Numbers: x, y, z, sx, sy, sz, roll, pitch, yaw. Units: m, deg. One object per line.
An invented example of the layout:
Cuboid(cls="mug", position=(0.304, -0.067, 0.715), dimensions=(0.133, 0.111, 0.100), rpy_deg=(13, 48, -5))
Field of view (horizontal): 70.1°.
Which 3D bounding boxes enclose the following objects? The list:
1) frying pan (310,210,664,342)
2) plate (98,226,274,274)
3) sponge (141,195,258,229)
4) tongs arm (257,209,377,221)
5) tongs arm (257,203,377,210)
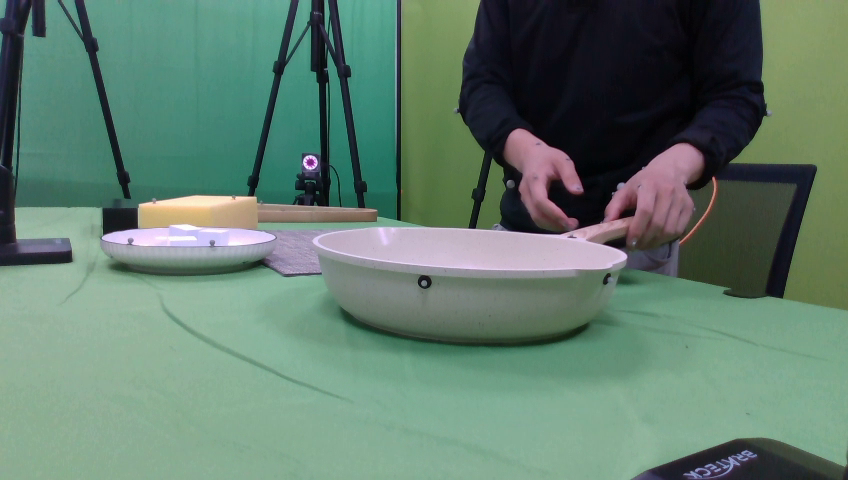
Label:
Cuboid(cls="frying pan", position=(0.120, 0.011, 0.643), dimensions=(0.490, 0.102, 0.305), rpy_deg=(-14, 16, -37))
Cuboid(cls="plate", position=(-0.301, 0.011, 0.778), dimensions=(0.208, 0.039, 0.207), rpy_deg=(2, 7, 0))
Cuboid(cls="sponge", position=(-0.380, -0.040, 1.047), dimensions=(0.118, 0.061, 0.207), rpy_deg=(1, 8, 3))
Cuboid(cls="tongs arm", position=(-0.280, -0.056, 1.355), dimensions=(0.389, 0.028, 0.028), rpy_deg=(-1, 6, -28))
Cuboid(cls="tongs arm", position=(-0.306, -0.070, 1.430), dimensions=(0.386, 0.026, 0.050), rpy_deg=(2, 8, -15))
